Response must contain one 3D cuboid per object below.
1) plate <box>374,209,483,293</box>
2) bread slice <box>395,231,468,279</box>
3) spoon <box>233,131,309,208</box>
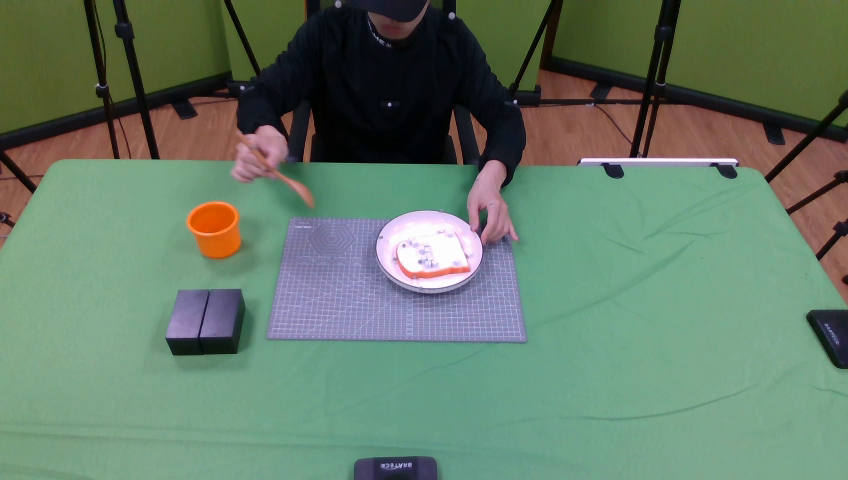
[{"bbox_3d":[0.009,0.024,1.160,0.209,0.038,0.208,2,46,-2],"label":"plate"},{"bbox_3d":[0.011,0.030,1.159,0.132,0.019,0.104,-8,47,-14],"label":"bread slice"},{"bbox_3d":[-0.266,-0.122,1.068,0.021,0.195,0.041,-34,40,16],"label":"spoon"}]
